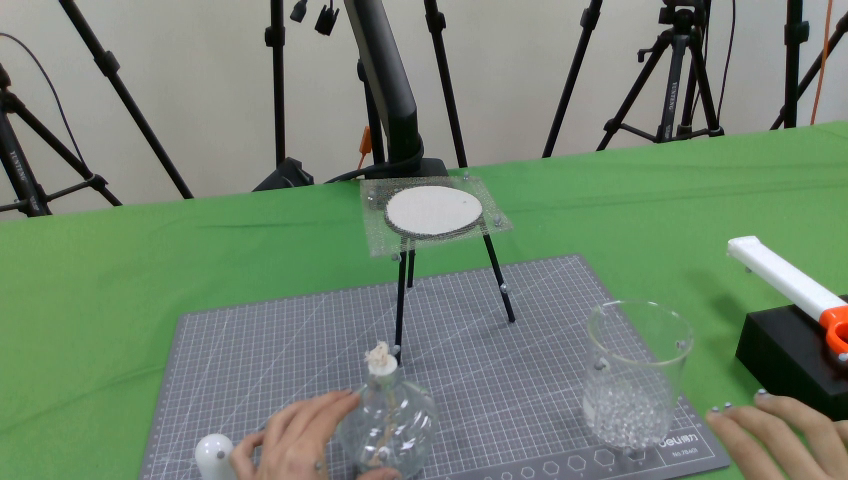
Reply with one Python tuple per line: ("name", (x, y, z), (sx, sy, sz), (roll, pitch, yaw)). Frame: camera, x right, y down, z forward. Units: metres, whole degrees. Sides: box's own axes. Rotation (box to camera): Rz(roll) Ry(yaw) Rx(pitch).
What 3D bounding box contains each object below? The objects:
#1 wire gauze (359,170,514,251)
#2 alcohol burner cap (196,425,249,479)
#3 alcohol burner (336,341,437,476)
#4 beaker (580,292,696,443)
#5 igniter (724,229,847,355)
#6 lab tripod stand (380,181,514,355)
("wire gauze", (0.006, -0.034, 0.538), (0.121, 0.011, 0.123), (-7, 33, -7))
("alcohol burner cap", (-0.155, 0.162, 0.463), (0.034, 0.048, 0.033), (-3, 34, 2))
("alcohol burner", (-0.029, 0.119, 0.451), (0.078, 0.120, 0.077), (-2, 35, 2))
("beaker", (0.159, 0.100, 0.474), (0.074, 0.101, 0.083), (-18, 35, -21))
("igniter", (0.344, 0.063, 0.499), (0.057, 0.025, 0.273), (-10, 30, -7))
("lab tripod stand", (0.014, 0.020, 0.579), (0.148, 0.132, 0.147), (-1, 32, 1))
